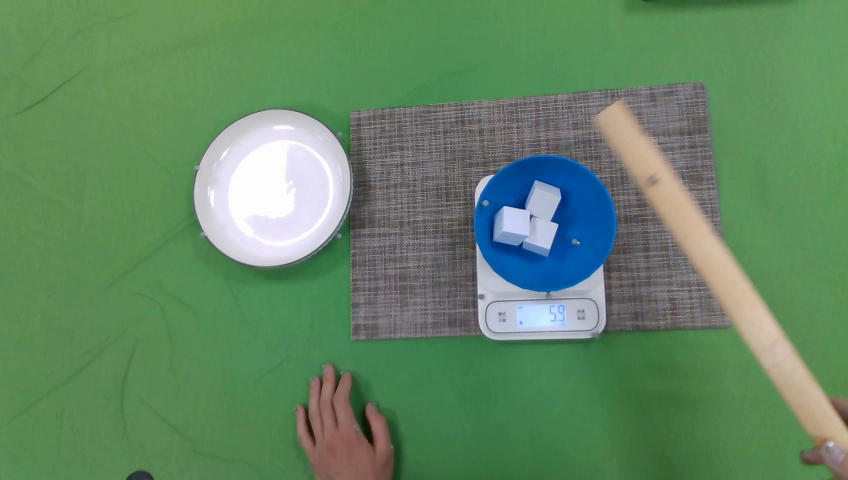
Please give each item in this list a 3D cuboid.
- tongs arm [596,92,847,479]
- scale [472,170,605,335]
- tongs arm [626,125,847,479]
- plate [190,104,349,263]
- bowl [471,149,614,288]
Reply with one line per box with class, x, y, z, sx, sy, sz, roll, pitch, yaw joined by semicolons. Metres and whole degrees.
tongs arm;0.246;0.051;0.459;0.028;0.028;0.386;-34;82;18
scale;0.135;0.011;0.725;0.148;0.032;0.200;-3;81;7
tongs arm;0.281;0.053;0.525;0.026;0.051;0.382;-34;71;21
plate;-0.195;-0.071;0.780;0.207;0.039;0.207;-1;81;7
bowl;0.128;-0.018;0.676;0.151;0.077;0.151;-1;81;6
